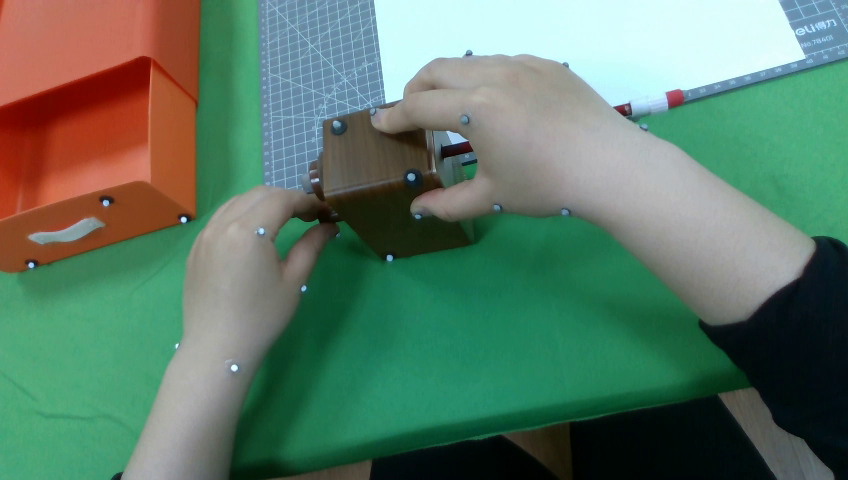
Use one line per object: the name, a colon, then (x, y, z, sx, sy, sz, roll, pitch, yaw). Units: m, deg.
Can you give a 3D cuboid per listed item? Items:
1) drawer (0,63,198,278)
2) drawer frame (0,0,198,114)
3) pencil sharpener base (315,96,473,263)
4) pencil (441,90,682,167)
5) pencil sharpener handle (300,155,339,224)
drawer: (-0.302, -0.091, 0.532, 0.194, 0.074, 0.210, -16, 64, 11)
drawer frame: (-0.322, -0.196, 0.581, 0.201, 0.083, 0.211, -15, 63, 11)
pencil sharpener base: (-0.017, -0.034, 0.403, 0.076, 0.108, 0.061, -13, 64, 13)
pencil: (0.052, -0.058, 0.360, 0.194, 0.012, 0.012, -14, 64, 11)
pencil sharpener handle: (-0.069, -0.028, 0.403, 0.030, 0.068, 0.035, -13, 67, 13)
